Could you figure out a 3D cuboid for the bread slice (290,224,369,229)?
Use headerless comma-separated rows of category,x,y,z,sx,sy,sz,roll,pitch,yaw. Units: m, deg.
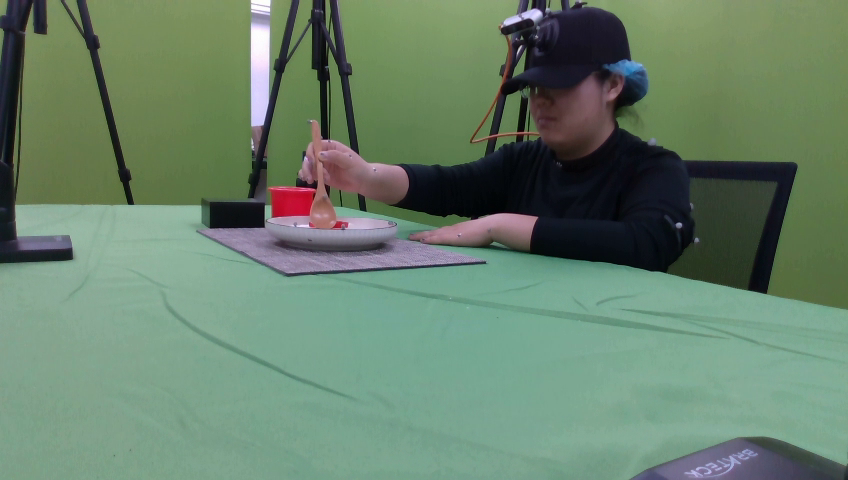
bread slice,-0.154,-0.013,0.972,0.132,0.019,0.104,-2,8,-31

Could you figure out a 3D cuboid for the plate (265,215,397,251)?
plate,-0.147,-0.012,0.963,0.209,0.038,0.209,3,7,0

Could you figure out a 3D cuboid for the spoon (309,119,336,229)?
spoon,-0.164,-0.105,0.949,0.042,0.193,0.021,-2,-16,-16
